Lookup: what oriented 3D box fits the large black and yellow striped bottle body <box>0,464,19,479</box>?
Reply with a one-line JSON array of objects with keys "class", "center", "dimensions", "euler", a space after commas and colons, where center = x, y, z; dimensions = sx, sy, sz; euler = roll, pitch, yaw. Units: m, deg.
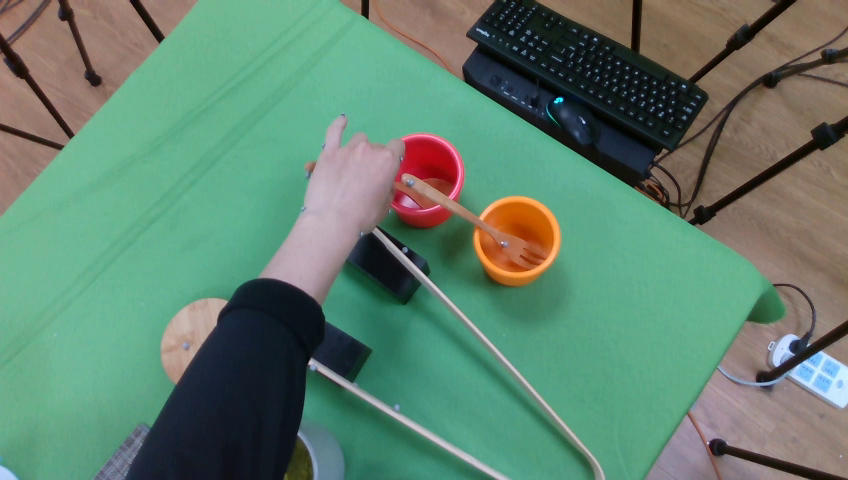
[{"class": "large black and yellow striped bottle body", "center": [-0.511, 0.286, 0.590], "dimensions": [0.130, 0.185, 0.130], "euler": [-2, 73, 5]}]

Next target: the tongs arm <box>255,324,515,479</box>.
[{"class": "tongs arm", "center": [0.002, 0.174, 0.621], "dimensions": [0.384, 0.026, 0.050], "euler": [33, 78, 3]}]

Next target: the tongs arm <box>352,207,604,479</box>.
[{"class": "tongs arm", "center": [0.054, 0.109, 0.636], "dimensions": [0.028, 0.028, 0.386], "euler": [-42, 85, -15]}]

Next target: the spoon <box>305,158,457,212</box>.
[{"class": "spoon", "center": [-0.040, -0.065, 0.661], "dimensions": [0.021, 0.195, 0.041], "euler": [11, 89, 50]}]

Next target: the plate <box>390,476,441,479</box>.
[{"class": "plate", "center": [-0.007, 0.344, 0.603], "dimensions": [0.207, 0.039, 0.206], "euler": [-1, 75, 5]}]

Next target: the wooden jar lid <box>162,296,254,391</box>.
[{"class": "wooden jar lid", "center": [-0.246, 0.119, 0.698], "dimensions": [0.108, 0.021, 0.108], "euler": [-1, 75, 4]}]

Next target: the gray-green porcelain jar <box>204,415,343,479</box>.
[{"class": "gray-green porcelain jar", "center": [-0.140, 0.228, 0.602], "dimensions": [0.106, 0.127, 0.105], "euler": [-1, 74, 5]}]

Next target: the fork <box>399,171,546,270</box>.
[{"class": "fork", "center": [0.056, -0.019, 0.641], "dimensions": [0.209, 0.018, 0.028], "euler": [30, 87, -32]}]
